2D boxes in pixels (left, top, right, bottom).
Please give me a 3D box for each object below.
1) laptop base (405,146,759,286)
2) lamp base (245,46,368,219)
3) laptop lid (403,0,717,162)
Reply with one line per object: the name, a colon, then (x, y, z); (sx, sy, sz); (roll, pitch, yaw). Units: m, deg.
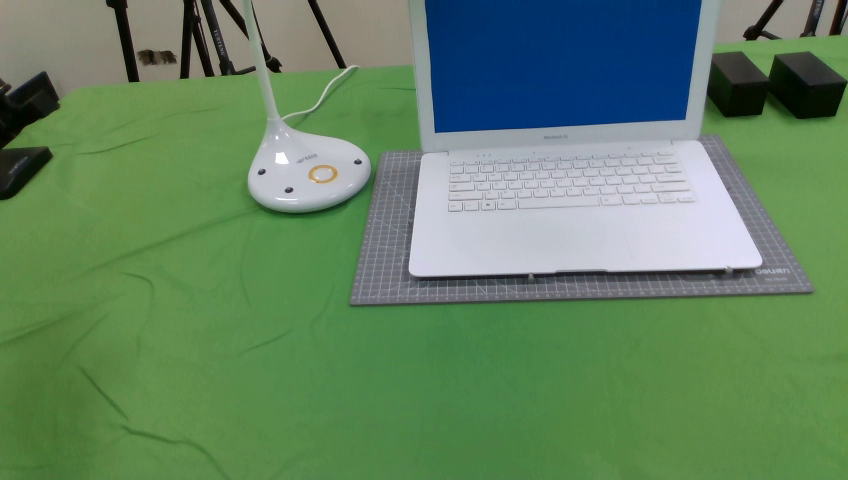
laptop base: (0.161, -0.031, 0.697); (0.354, 0.023, 0.233); (-2, 42, 5)
lamp base: (-0.170, -0.142, 0.753); (0.177, 0.182, 0.160); (25, 48, 36)
laptop lid: (0.158, -0.207, 0.727); (0.356, 0.244, 0.013); (-4, 31, 6)
